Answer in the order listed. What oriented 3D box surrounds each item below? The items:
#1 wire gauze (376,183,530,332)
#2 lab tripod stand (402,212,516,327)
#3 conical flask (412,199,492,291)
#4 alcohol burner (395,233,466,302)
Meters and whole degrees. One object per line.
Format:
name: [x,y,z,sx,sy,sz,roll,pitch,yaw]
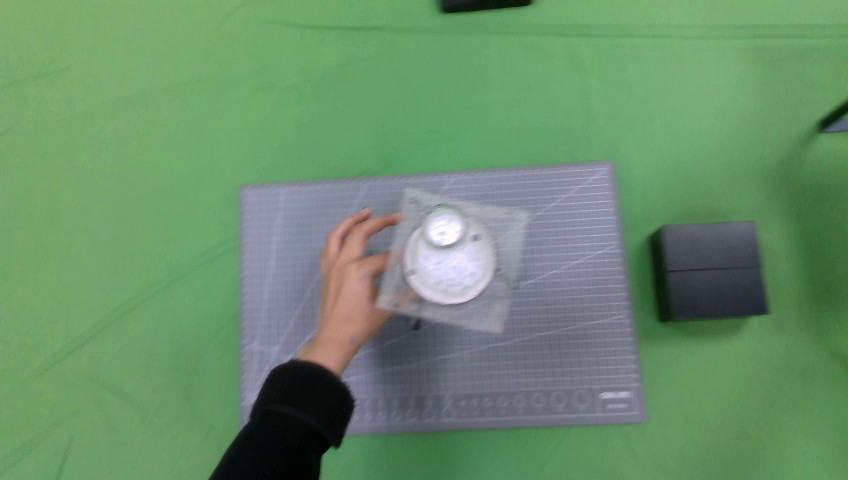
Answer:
wire gauze: [0.028,0.015,0.571,0.121,0.011,0.124,14,78,5]
lab tripod stand: [0.026,0.026,0.636,0.148,0.132,0.147,-1,79,6]
conical flask: [0.022,-0.001,0.514,0.075,0.122,0.075,-1,78,4]
alcohol burner: [0.006,0.027,0.647,0.078,0.119,0.077,-1,80,4]
